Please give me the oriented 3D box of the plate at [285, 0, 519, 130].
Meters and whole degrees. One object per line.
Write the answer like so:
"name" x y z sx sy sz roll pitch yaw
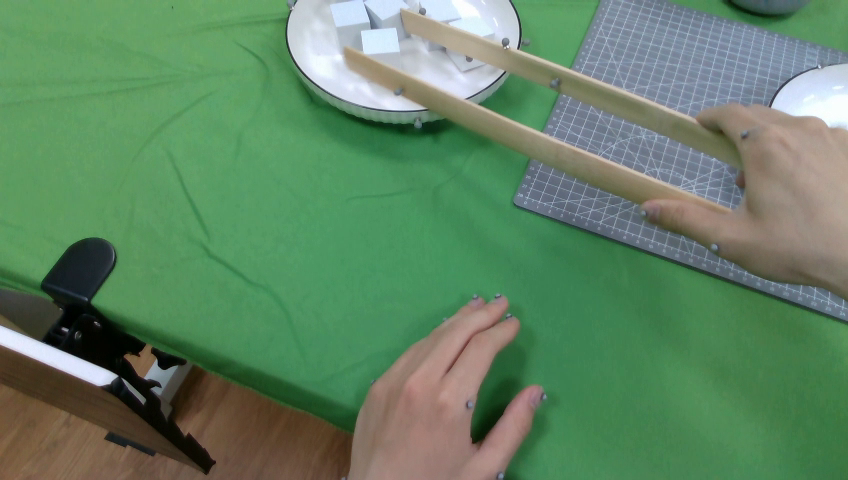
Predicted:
"plate" -0.019 -0.175 0.553 0.208 0.039 0.205 1 58 -1

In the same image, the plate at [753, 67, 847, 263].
"plate" 0.366 -0.052 0.485 0.209 0.038 0.207 1 58 -1

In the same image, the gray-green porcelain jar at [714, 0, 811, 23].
"gray-green porcelain jar" 0.343 -0.286 0.582 0.106 0.127 0.105 1 57 -1

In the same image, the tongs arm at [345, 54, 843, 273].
"tongs arm" 0.082 -0.068 0.434 0.384 0.028 0.028 30 59 28

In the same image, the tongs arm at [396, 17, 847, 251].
"tongs arm" 0.108 -0.094 0.449 0.381 0.027 0.050 30 62 29
